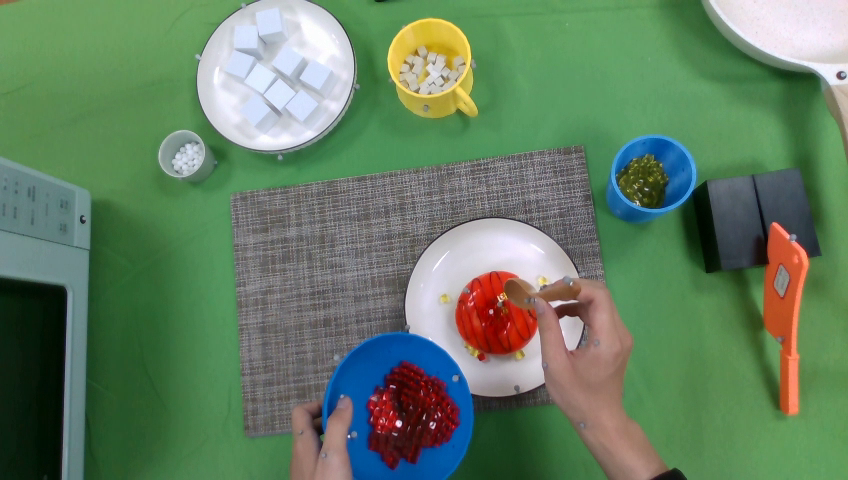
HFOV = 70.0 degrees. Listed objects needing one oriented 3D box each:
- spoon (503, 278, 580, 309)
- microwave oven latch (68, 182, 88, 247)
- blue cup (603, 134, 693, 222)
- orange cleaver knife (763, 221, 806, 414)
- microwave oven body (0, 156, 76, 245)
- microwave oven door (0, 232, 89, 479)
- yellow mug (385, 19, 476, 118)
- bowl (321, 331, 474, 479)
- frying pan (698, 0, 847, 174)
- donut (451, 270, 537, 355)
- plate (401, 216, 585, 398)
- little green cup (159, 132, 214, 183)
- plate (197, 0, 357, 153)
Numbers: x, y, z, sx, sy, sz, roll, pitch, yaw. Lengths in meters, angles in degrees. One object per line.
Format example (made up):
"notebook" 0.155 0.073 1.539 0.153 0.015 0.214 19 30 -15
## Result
"spoon" 0.106 0.050 0.558 0.021 0.194 0.041 -41 89 -6
"microwave oven latch" -0.444 -0.032 0.763 0.030 0.029 0.079 -1 82 6
"blue cup" 0.241 -0.061 0.678 0.092 0.100 0.092 -1 79 5
"orange cleaver knife" 0.383 0.085 0.651 0.012 0.077 0.212 -8 109 6
"microwave oven body" -0.591 0.138 0.655 0.326 0.261 0.440 -4 82 5
"microwave oven door" -0.445 0.169 0.630 0.039 0.245 0.354 -5 81 6
"yellow mug" 0.018 -0.198 0.742 0.100 0.064 0.130 -44 80 -2
"bowl" -0.035 0.172 0.601 0.152 0.077 0.150 8 68 -21
"frying pan" 0.456 -0.228 0.678 0.306 0.103 0.485 -2 73 7
"donut" 0.080 0.083 0.691 0.099 0.048 0.099 -1 85 6
"plate" 0.079 0.077 0.704 0.209 0.038 0.208 -1 82 6
"little green cup" -0.301 -0.103 0.775 0.061 0.039 0.061 -1 82 5
"plate" -0.186 -0.209 0.780 0.207 0.039 0.207 -1 81 6
